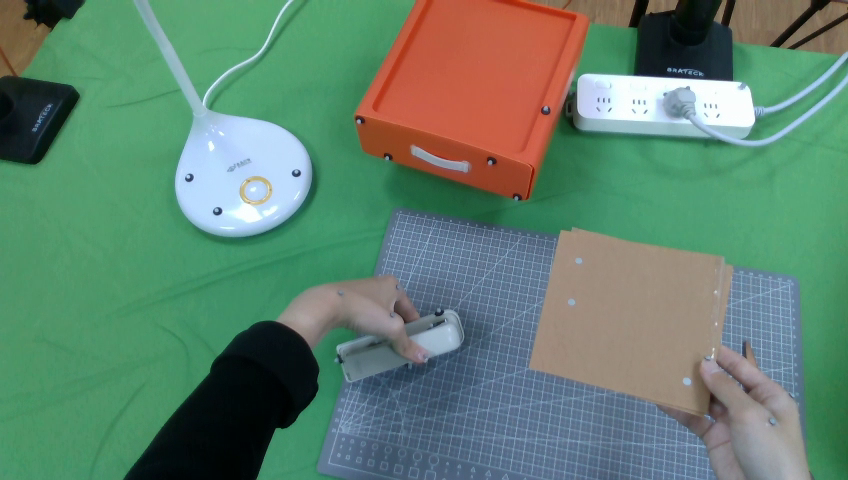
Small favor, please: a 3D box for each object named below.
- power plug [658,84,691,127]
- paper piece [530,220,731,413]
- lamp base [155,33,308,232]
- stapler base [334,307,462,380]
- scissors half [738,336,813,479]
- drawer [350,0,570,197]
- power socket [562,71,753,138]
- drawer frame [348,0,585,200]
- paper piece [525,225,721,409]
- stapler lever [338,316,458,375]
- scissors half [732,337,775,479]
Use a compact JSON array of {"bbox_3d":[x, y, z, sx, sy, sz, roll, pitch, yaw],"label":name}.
[{"bbox_3d":[0.291,-0.151,0.710,0.035,0.053,0.072,15,65,9],"label":"power plug"},{"bbox_3d":[0.173,0.057,0.504,0.135,0.004,0.135,18,67,18],"label":"paper piece"},{"bbox_3d":[-0.230,-0.123,0.658,0.160,0.182,0.178,-41,66,-17],"label":"lamp base"},{"bbox_3d":[-0.025,0.104,0.612,0.130,0.024,0.041,-18,86,-4],"label":"stapler base"},{"bbox_3d":[0.331,0.174,0.581,0.040,0.013,0.173,-4,62,-6],"label":"scissors half"},{"bbox_3d":[0.051,-0.172,0.680,0.194,0.074,0.210,18,65,12],"label":"drawer"},{"bbox_3d":[0.286,-0.167,0.744,0.226,0.033,0.071,5,64,4],"label":"power socket"},{"bbox_3d":[0.052,-0.177,0.685,0.201,0.083,0.212,18,66,11],"label":"drawer frame"},{"bbox_3d":[0.164,0.055,0.495,0.135,0.009,0.137,11,64,18],"label":"paper piece"},{"bbox_3d":[-0.025,0.103,0.588,0.118,0.040,0.027,-17,86,-5],"label":"stapler lever"},{"bbox_3d":[0.311,0.173,0.579,0.040,0.013,0.174,14,60,-3],"label":"scissors half"}]
